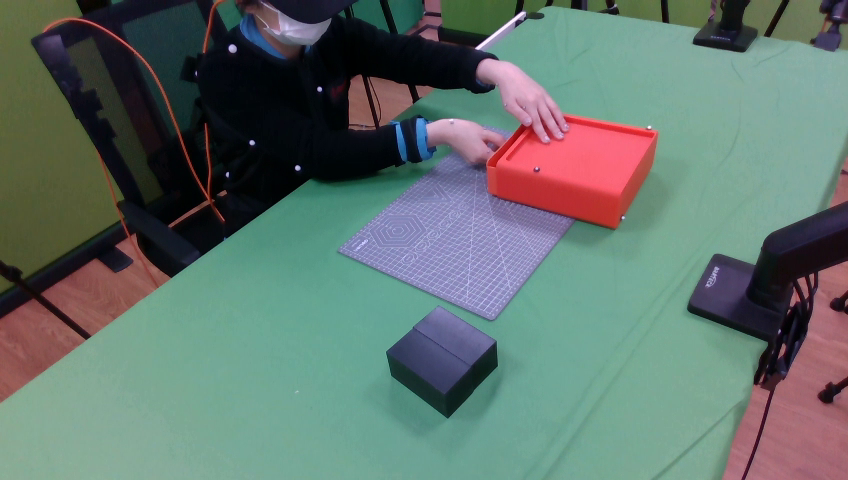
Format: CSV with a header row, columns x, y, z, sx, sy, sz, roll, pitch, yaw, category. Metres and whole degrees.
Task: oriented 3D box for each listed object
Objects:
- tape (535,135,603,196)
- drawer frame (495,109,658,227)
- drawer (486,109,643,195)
x,y,z,sx,sy,sz,roll,pitch,yaw,category
0.249,-0.130,1.044,0.117,0.053,0.116,-5,40,4,tape
0.260,-0.130,1.031,0.212,0.083,0.202,18,46,26,drawer frame
0.242,-0.135,1.040,0.210,0.073,0.195,18,46,26,drawer
